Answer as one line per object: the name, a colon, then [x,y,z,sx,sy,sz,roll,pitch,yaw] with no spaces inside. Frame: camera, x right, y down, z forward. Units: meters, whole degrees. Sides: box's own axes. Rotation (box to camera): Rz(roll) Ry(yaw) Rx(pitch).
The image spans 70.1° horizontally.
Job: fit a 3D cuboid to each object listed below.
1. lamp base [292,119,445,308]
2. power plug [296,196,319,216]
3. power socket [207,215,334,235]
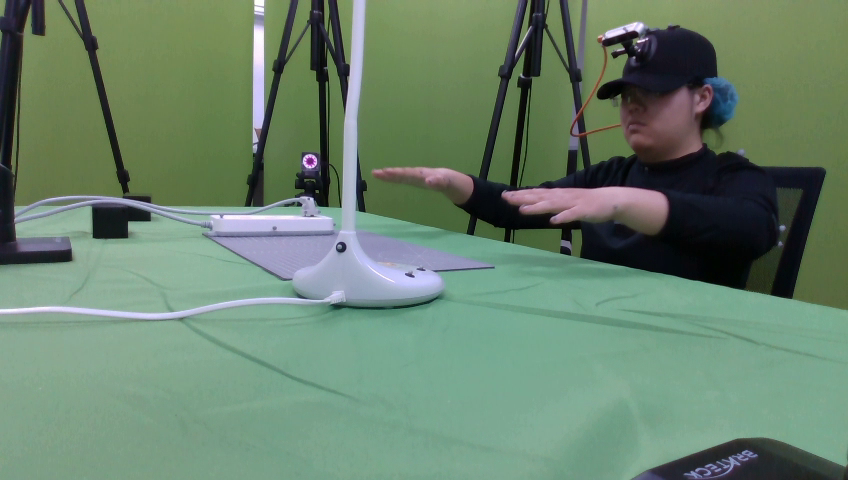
lamp base: [-0.056,-0.030,0.616,0.160,0.180,0.179,4,10,8]
power plug: [-0.219,-0.057,1.142,0.035,0.052,0.072,0,7,-19]
power socket: [-0.270,-0.028,1.082,0.228,0.032,0.072,-2,7,-30]
